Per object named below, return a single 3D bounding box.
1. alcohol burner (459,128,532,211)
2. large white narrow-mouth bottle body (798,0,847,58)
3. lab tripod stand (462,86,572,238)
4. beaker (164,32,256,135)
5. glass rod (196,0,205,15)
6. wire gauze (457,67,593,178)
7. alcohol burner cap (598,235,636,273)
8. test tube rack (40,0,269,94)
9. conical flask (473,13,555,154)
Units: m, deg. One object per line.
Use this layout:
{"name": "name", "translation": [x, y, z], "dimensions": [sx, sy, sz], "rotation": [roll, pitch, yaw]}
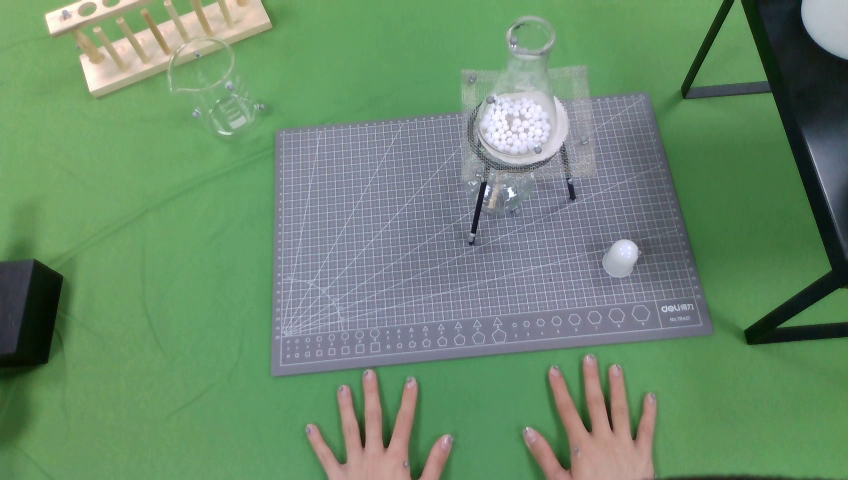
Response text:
{"name": "alcohol burner", "translation": [0.076, -0.080, 0.633], "dimensions": [0.078, 0.120, 0.077], "rotation": [0, 66, 1]}
{"name": "large white narrow-mouth bottle body", "translation": [0.372, -0.233, 0.445], "dimensions": [0.102, 0.196, 0.101], "rotation": [-1, 65, 2]}
{"name": "lab tripod stand", "translation": [0.089, -0.083, 0.623], "dimensions": [0.148, 0.132, 0.147], "rotation": [-1, 66, 2]}
{"name": "beaker", "translation": [-0.244, -0.174, 0.702], "dimensions": [0.073, 0.101, 0.084], "rotation": [40, 75, 18]}
{"name": "glass rod", "translation": [-0.288, -0.340, 0.709], "dimensions": [0.008, 0.201, 0.008], "rotation": [1, 65, -1]}
{"name": "wire gauze", "translation": [0.092, -0.113, 0.564], "dimensions": [0.121, 0.011, 0.124], "rotation": [0, 65, 1]}
{"name": "alcohol burner cap", "translation": [0.202, 0.011, 0.627], "dimensions": [0.034, 0.048, 0.033], "rotation": [-1, 68, 3]}
{"name": "test tube rack", "translation": [-0.329, -0.277, 0.757], "dimensions": [0.242, 0.086, 0.066], "rotation": [-24, 68, -7]}
{"name": "conical flask", "translation": [0.080, -0.133, 0.508], "dimensions": [0.075, 0.123, 0.075], "rotation": [-1, 67, 3]}
